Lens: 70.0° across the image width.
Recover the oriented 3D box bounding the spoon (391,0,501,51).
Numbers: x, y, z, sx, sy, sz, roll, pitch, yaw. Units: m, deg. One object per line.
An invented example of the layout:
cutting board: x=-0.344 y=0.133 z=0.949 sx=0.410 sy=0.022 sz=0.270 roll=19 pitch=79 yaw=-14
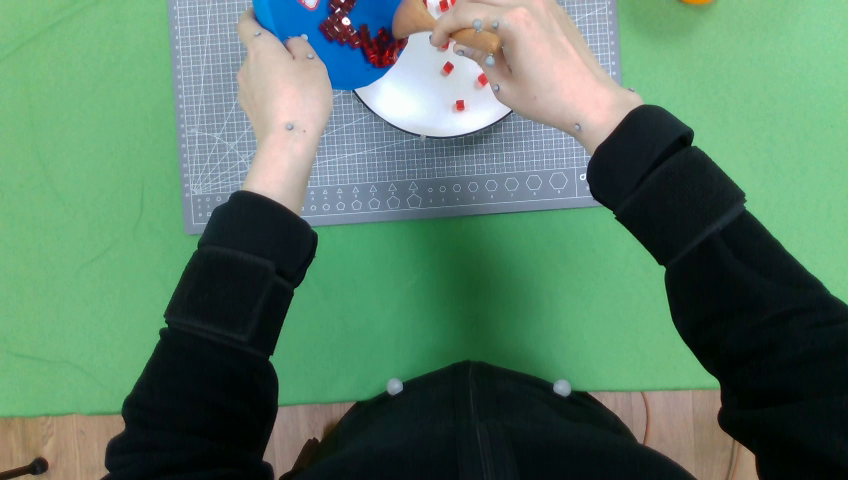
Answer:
spoon: x=0.013 y=-0.161 z=0.450 sx=0.022 sy=0.191 sz=0.042 roll=21 pitch=105 yaw=-33

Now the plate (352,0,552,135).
plate: x=0.018 y=-0.206 z=0.591 sx=0.209 sy=0.038 sz=0.209 roll=0 pitch=91 yaw=2

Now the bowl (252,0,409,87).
bowl: x=-0.086 y=-0.209 z=0.501 sx=0.076 sy=0.153 sz=0.151 roll=24 pitch=92 yaw=40
